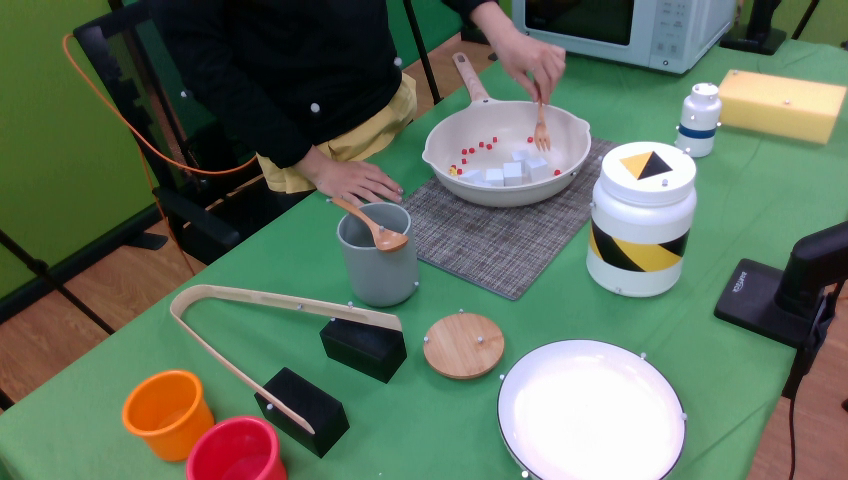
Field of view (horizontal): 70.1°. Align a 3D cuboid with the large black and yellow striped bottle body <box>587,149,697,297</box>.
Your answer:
[{"bbox_3d":[0.298,-0.026,0.835,0.131,0.185,0.130,-4,41,4],"label":"large black and yellow striped bottle body"}]

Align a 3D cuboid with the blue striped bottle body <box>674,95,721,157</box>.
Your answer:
[{"bbox_3d":[0.486,-0.213,1.071,0.063,0.121,0.063,-4,41,4],"label":"blue striped bottle body"}]

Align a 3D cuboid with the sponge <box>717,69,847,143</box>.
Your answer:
[{"bbox_3d":[0.663,-0.256,1.142,0.205,0.061,0.118,19,47,28],"label":"sponge"}]

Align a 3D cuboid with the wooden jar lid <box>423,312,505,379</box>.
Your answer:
[{"bbox_3d":[0.053,0.142,0.800,0.108,0.021,0.108,-4,39,4],"label":"wooden jar lid"}]

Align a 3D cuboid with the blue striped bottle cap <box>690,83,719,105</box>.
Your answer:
[{"bbox_3d":[0.482,-0.251,1.038,0.044,0.021,0.044,-5,40,5],"label":"blue striped bottle cap"}]

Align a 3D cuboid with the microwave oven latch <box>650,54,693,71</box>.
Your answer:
[{"bbox_3d":[0.531,-0.386,1.301,0.078,0.029,0.030,26,51,33],"label":"microwave oven latch"}]

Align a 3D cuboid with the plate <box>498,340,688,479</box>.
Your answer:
[{"bbox_3d":[0.189,0.206,0.692,0.207,0.039,0.206,-4,40,4],"label":"plate"}]

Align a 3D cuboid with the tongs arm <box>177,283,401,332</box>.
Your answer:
[{"bbox_3d":[-0.199,0.096,0.823,0.382,0.027,0.051,7,45,34],"label":"tongs arm"}]

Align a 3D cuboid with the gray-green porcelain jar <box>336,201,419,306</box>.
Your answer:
[{"bbox_3d":[-0.064,0.024,0.872,0.106,0.127,0.105,-4,41,4],"label":"gray-green porcelain jar"}]

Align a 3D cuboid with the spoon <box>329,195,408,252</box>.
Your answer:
[{"bbox_3d":[-0.082,-0.029,0.828,0.042,0.022,0.192,-31,43,-21],"label":"spoon"}]

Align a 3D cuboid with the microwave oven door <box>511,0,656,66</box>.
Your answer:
[{"bbox_3d":[0.351,-0.539,1.349,0.353,0.245,0.039,24,50,31],"label":"microwave oven door"}]

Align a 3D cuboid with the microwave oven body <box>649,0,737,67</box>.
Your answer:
[{"bbox_3d":[0.475,-0.602,1.411,0.438,0.261,0.327,23,50,32],"label":"microwave oven body"}]

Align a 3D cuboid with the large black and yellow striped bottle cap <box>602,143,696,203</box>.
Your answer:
[{"bbox_3d":[0.289,-0.088,0.779,0.115,0.019,0.114,-5,40,4],"label":"large black and yellow striped bottle cap"}]

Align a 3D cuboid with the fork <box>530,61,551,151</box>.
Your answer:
[{"bbox_3d":[0.207,-0.244,1.089,0.028,0.019,0.206,-1,66,0],"label":"fork"}]

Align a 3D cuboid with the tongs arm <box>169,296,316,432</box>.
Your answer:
[{"bbox_3d":[-0.248,0.148,0.775,0.384,0.028,0.028,20,57,44],"label":"tongs arm"}]

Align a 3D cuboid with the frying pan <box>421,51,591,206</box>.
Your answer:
[{"bbox_3d":[0.127,-0.233,1.155,0.307,0.103,0.484,-11,49,-5],"label":"frying pan"}]
